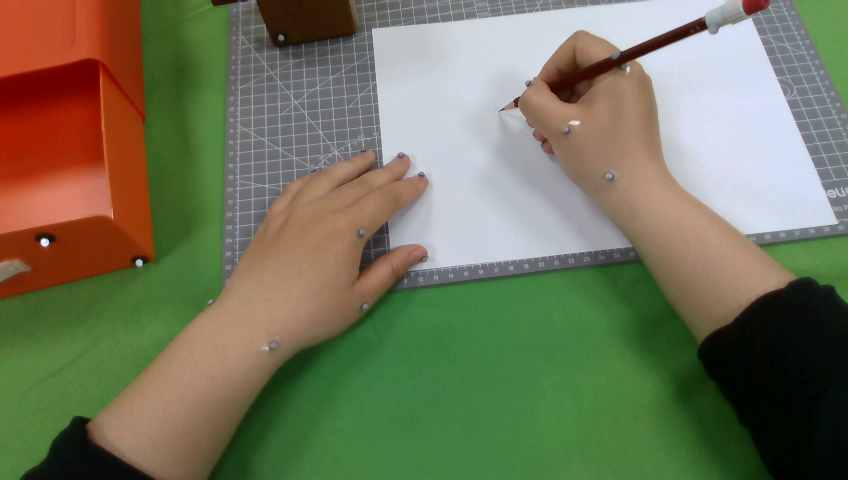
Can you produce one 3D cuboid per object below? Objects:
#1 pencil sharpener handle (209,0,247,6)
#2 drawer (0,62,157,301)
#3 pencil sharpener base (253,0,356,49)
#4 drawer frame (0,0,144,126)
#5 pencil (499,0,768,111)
[{"bbox_3d":[-0.148,-0.196,0.430,0.030,0.068,0.035,-13,63,-2],"label":"pencil sharpener handle"},{"bbox_3d":[-0.297,-0.063,0.409,0.194,0.074,0.210,-15,66,-4],"label":"drawer"},{"bbox_3d":[-0.098,-0.202,0.444,0.077,0.108,0.061,-12,66,-2],"label":"pencil sharpener base"},{"bbox_3d":[-0.327,-0.166,0.454,0.202,0.083,0.211,-14,65,-3],"label":"drawer frame"},{"bbox_3d":[0.108,-0.105,0.365,0.012,0.193,0.012,4,82,-33],"label":"pencil"}]
